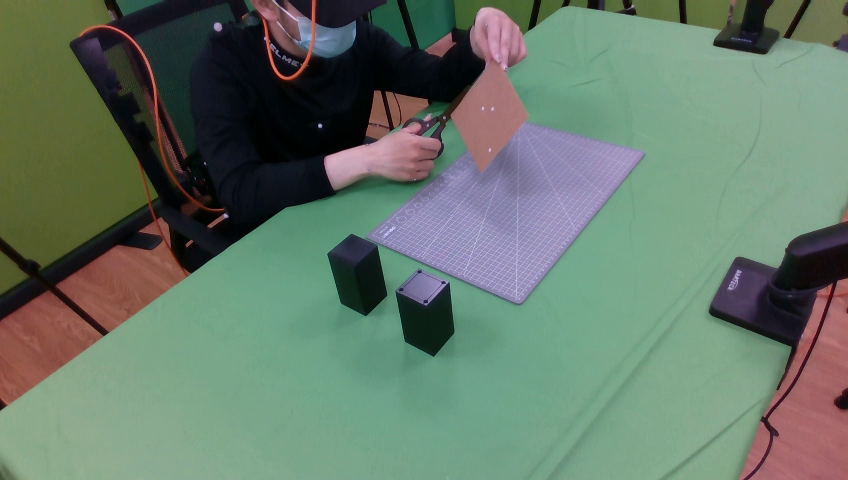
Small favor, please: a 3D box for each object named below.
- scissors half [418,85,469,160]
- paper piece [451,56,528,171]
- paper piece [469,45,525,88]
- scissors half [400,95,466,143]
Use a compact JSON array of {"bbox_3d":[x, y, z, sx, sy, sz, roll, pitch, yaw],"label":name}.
[{"bbox_3d":[0.037,-0.207,1.076,0.040,0.175,0.013,34,41,1],"label":"scissors half"},{"bbox_3d":[0.102,-0.207,0.991,0.004,0.135,0.135,0,55,-38],"label":"paper piece"},{"bbox_3d":[0.114,-0.289,1.080,0.008,0.135,0.138,49,38,2],"label":"paper piece"},{"bbox_3d":[0.021,-0.222,1.073,0.174,0.040,0.013,-23,25,35],"label":"scissors half"}]
